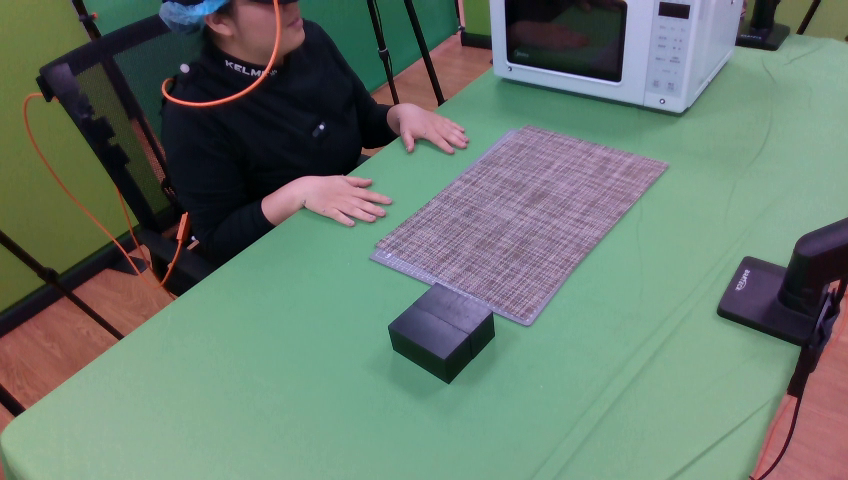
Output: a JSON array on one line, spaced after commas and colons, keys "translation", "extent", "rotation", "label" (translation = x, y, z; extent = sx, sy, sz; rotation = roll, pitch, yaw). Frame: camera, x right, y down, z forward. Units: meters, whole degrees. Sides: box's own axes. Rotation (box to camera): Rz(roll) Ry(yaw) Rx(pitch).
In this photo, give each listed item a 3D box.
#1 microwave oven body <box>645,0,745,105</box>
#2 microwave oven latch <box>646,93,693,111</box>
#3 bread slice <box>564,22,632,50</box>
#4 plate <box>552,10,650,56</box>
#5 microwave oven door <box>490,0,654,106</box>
[{"translation": [0.416, -0.486, 1.290], "extent": [0.438, 0.261, 0.327], "rotation": [21, 50, 33], "label": "microwave oven body"}, {"translation": [0.477, -0.273, 1.177], "extent": [0.078, 0.029, 0.030], "rotation": [22, 50, 33], "label": "microwave oven latch"}, {"translation": [0.394, -0.454, 1.344], "extent": [0.105, 0.019, 0.130], "rotation": [-35, 43, -26], "label": "bread slice"}, {"translation": [0.390, -0.455, 1.339], "extent": [0.209, 0.038, 0.208], "rotation": [-6, 39, 5], "label": "plate"}, {"translation": [0.292, -0.420, 1.228], "extent": [0.353, 0.245, 0.039], "rotation": [22, 49, 32], "label": "microwave oven door"}]
